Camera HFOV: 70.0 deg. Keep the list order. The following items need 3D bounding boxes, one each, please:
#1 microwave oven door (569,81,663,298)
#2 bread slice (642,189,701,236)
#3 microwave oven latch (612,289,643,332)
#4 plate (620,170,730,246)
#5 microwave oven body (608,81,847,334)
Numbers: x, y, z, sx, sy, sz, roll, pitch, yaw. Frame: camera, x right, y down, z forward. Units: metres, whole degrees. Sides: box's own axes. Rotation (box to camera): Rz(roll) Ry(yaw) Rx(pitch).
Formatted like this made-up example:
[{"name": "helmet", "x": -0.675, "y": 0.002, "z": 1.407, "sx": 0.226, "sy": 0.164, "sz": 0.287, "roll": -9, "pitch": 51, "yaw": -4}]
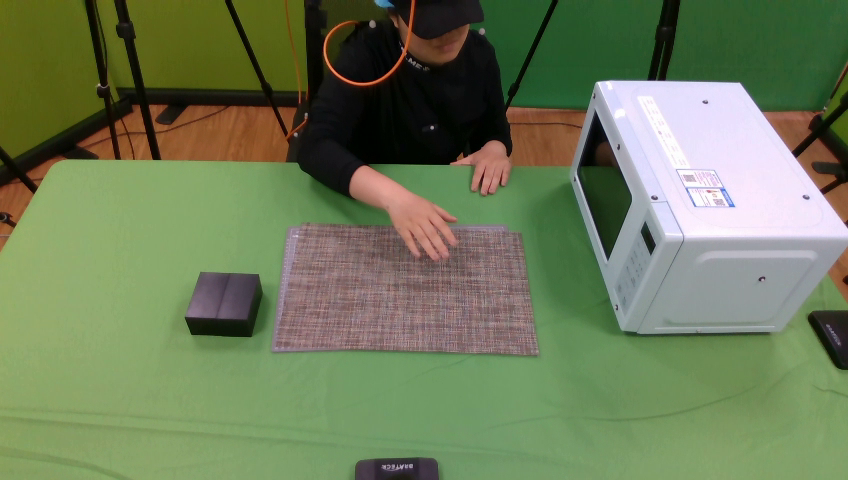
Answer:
[{"name": "microwave oven door", "x": 0.353, "y": -0.104, "z": 1.147, "sx": 0.039, "sy": 0.245, "sz": 0.353, "roll": 0, "pitch": 46, "yaw": -4}, {"name": "bread slice", "x": 0.494, "y": -0.056, "z": 1.197, "sx": 0.105, "sy": 0.019, "sz": 0.131, "roll": 6, "pitch": 41, "yaw": 4}, {"name": "microwave oven latch", "x": 0.357, "y": 0.124, "z": 1.068, "sx": 0.030, "sy": 0.029, "sz": 0.078, "roll": 0, "pitch": 45, "yaw": -3}, {"name": "plate", "x": 0.490, "y": -0.059, "z": 1.194, "sx": 0.209, "sy": 0.038, "sz": 0.208, "roll": 3, "pitch": 46, "yaw": -3}, {"name": "microwave oven body", "x": 0.501, "y": -0.070, "z": 1.132, "sx": 0.326, "sy": 0.261, "sz": 0.438, "roll": -1, "pitch": 45, "yaw": -4}]
